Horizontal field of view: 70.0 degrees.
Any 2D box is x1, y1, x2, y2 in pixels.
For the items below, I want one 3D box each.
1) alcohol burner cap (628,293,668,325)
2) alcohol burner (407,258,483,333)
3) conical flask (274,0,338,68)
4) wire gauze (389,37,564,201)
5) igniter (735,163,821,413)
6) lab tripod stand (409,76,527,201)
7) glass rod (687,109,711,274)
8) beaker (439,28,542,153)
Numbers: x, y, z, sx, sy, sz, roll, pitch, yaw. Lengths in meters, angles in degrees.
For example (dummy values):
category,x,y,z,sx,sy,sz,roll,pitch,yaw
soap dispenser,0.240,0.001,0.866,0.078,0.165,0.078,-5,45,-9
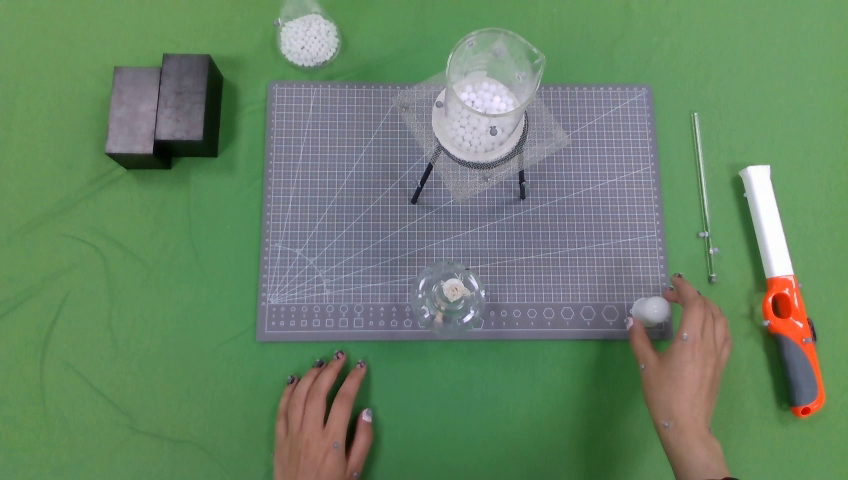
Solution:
category,x,y,z,sx,sy,sz,roll,pitch,yaw
alcohol burner cap,0.242,0.072,0.647,0.034,0.048,0.033,1,78,-2
alcohol burner,0.023,0.053,0.606,0.078,0.119,0.077,1,77,-3
conical flask,-0.136,-0.247,0.659,0.075,0.122,0.075,0,78,-2
wire gauze,0.050,-0.113,0.564,0.125,0.011,0.121,-29,84,-9
igniter,0.389,0.048,0.668,0.057,0.025,0.275,-4,79,-14
lab tripod stand,0.047,-0.095,0.627,0.148,0.132,0.148,0,80,-2
glass rod,0.317,-0.059,0.697,0.008,0.008,0.199,-1,78,-3
beaker,0.052,-0.122,0.516,0.084,0.100,0.073,-21,81,-6
